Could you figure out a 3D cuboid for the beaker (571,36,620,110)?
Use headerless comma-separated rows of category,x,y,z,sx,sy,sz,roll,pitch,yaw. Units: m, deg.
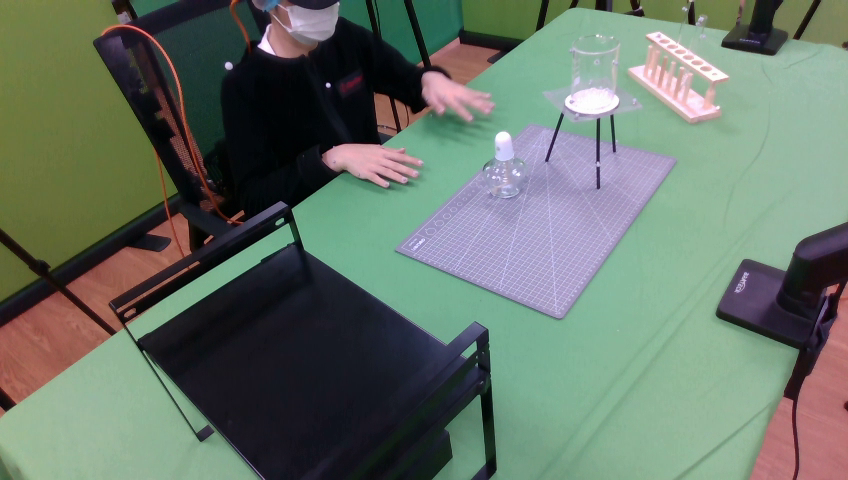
beaker,0.280,-0.272,0.990,0.073,0.101,0.084,17,47,28

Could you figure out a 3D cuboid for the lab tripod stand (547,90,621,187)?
lab tripod stand,0.289,-0.184,1.062,0.148,0.132,0.147,-6,41,6

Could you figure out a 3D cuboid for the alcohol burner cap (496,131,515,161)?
alcohol burner cap,0.135,-0.160,1.019,0.034,0.048,0.033,-8,37,6

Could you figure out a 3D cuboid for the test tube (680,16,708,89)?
test tube,0.534,-0.370,1.204,0.017,0.151,0.017,1,42,0

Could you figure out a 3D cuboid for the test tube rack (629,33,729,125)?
test tube rack,0.516,-0.337,1.247,0.067,0.085,0.240,-14,41,-7

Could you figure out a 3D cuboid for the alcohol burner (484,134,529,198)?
alcohol burner,0.141,-0.133,1.041,0.078,0.119,0.077,-5,43,5

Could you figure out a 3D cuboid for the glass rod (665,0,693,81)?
glass rod,0.525,-0.418,1.239,0.008,0.200,0.008,1,42,0

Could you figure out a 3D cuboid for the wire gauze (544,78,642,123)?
wire gauze,0.282,-0.234,1.021,0.125,0.011,0.120,-17,38,-4
